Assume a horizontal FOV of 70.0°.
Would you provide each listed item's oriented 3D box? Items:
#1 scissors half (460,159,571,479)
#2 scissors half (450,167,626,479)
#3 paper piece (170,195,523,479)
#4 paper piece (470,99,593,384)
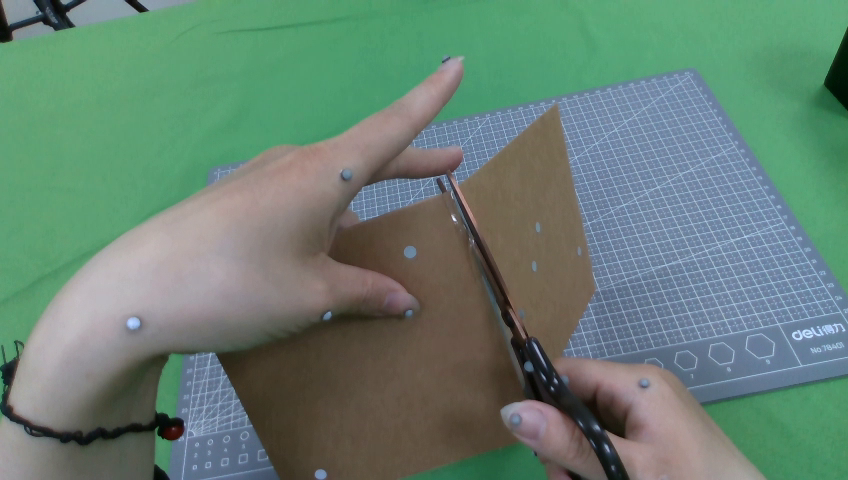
[{"bbox_3d":[0.043,0.045,0.291,0.013,0.176,0.040,-21,15,-12],"label":"scissors half"},{"bbox_3d":[0.048,0.043,0.269,0.013,0.040,0.174,-21,76,-17],"label":"scissors half"},{"bbox_3d":[-0.030,0.062,0.301,0.138,0.137,0.008,-21,17,-1],"label":"paper piece"},{"bbox_3d":[0.071,0.004,0.346,0.004,0.136,0.135,3,29,33],"label":"paper piece"}]
